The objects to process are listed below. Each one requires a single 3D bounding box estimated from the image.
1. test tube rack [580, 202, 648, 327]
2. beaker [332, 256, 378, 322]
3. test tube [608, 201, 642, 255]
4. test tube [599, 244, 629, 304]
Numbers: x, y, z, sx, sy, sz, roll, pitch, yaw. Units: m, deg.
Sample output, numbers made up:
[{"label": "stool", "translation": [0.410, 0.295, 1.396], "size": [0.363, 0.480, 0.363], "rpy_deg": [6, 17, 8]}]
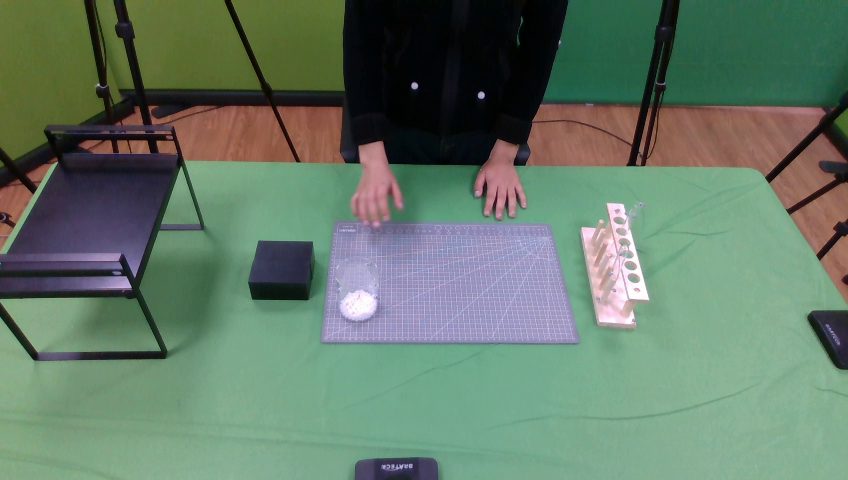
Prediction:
[{"label": "test tube rack", "translation": [0.352, 0.040, 1.143], "size": [0.067, 0.085, 0.241], "rpy_deg": [4, 46, -1]}, {"label": "beaker", "translation": [-0.114, 0.089, 1.047], "size": [0.083, 0.101, 0.074], "rpy_deg": [30, 51, 21]}, {"label": "test tube", "translation": [0.374, -0.019, 1.134], "size": [0.017, 0.151, 0.017], "rpy_deg": [3, 52, -4]}, {"label": "test tube", "translation": [0.331, 0.061, 1.059], "size": [0.017, 0.151, 0.017], "rpy_deg": [2, 46, -1]}]
